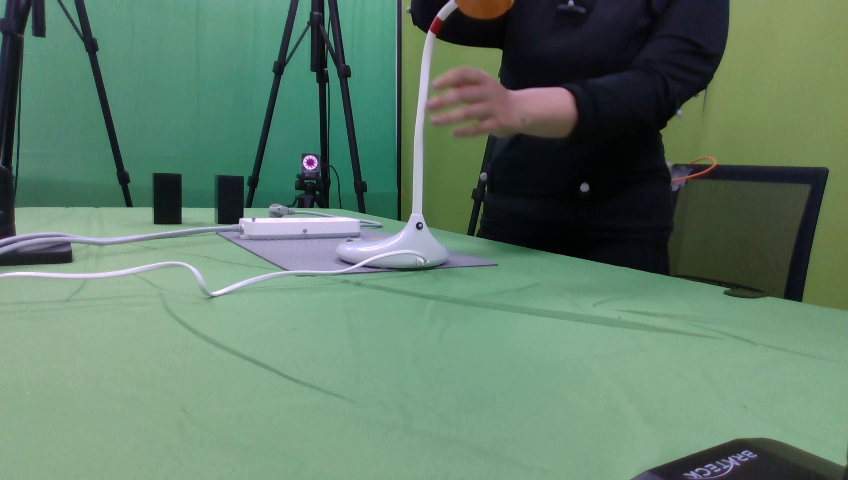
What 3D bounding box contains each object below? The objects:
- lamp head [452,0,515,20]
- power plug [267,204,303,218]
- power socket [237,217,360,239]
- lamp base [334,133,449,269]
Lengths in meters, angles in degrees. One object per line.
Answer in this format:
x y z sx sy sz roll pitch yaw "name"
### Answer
0.068 -0.320 0.699 0.112 0.122 0.112 7 -2 1 "lamp head"
-0.327 -0.059 1.404 0.073 0.035 0.052 22 -15 -26 "power plug"
-0.221 -0.023 1.080 0.228 0.032 0.072 -2 8 -33 "power socket"
-0.033 -0.057 0.830 0.161 0.180 0.178 -2 12 -36 "lamp base"
